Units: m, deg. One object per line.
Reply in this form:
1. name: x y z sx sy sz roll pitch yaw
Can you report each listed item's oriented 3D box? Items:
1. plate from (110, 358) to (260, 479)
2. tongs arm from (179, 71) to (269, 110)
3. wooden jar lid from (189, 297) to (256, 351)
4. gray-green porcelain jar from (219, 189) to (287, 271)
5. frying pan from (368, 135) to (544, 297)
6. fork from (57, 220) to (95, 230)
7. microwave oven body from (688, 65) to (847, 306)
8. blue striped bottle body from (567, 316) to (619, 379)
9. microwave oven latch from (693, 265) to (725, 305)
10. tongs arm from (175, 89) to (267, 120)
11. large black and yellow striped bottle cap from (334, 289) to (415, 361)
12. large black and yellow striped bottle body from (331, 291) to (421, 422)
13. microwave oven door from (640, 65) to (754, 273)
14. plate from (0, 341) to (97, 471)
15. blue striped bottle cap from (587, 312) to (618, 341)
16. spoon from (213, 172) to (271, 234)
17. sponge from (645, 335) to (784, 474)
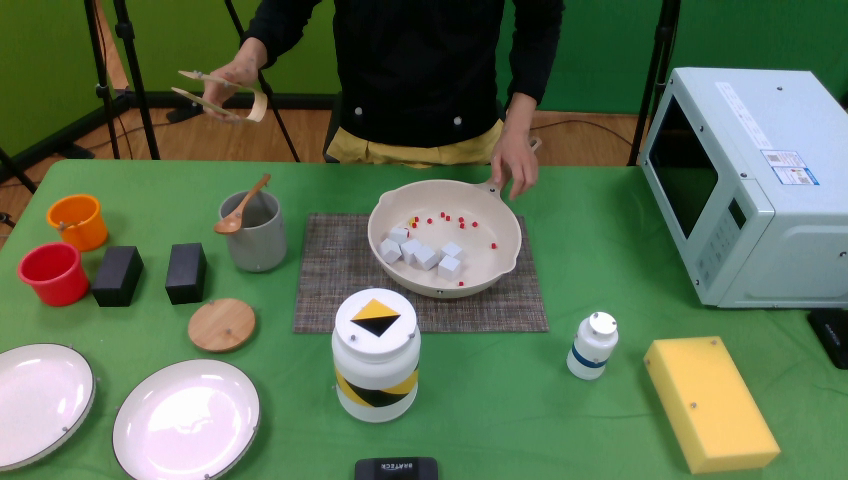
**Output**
1. plate: -0.349 0.273 0.899 0.208 0.039 0.206 2 46 -2
2. tongs arm: -0.328 -0.248 1.029 0.026 0.051 0.384 16 12 -1
3. wooden jar lid: -0.342 0.145 1.033 0.108 0.021 0.107 2 45 -2
4. gray-green porcelain jar: -0.310 -0.014 1.113 0.106 0.127 0.105 2 46 -2
5. frying pan: 0.104 -0.069 1.205 0.305 0.103 0.487 32 61 23
6. fork: -0.624 -0.027 1.086 0.028 0.018 0.207 -3 2 -17
7. microwave oven body: 0.669 -0.111 1.176 0.326 0.261 0.439 0 46 -3
8. blue striped bottle body: 0.276 0.168 0.984 0.063 0.121 0.062 2 46 -2
9. microwave oven latch: 0.523 0.081 1.116 0.030 0.029 0.078 2 46 -1
10. tongs arm: -0.333 -0.230 1.032 0.028 0.028 0.387 12 7 -1
11. large black and yellow striped bottle cap: -0.069 0.117 0.850 0.115 0.019 0.114 2 45 -2
12. large black and yellow striped bottle body: -0.071 0.175 0.911 0.131 0.185 0.130 2 47 -2
13. microwave oven door: 0.522 -0.147 1.193 0.039 0.245 0.353 0 47 -3
14. plate: -0.599 0.247 0.904 0.209 0.038 0.208 2 47 -2
15. blue striped bottle cap: 0.279 0.134 0.946 0.044 0.021 0.044 2 45 -2
16. spoon: -0.312 -0.069 1.069 0.041 0.022 0.193 9 43 11
17. sponge: 0.449 0.253 0.956 0.118 0.061 0.205 -4 46 -7
